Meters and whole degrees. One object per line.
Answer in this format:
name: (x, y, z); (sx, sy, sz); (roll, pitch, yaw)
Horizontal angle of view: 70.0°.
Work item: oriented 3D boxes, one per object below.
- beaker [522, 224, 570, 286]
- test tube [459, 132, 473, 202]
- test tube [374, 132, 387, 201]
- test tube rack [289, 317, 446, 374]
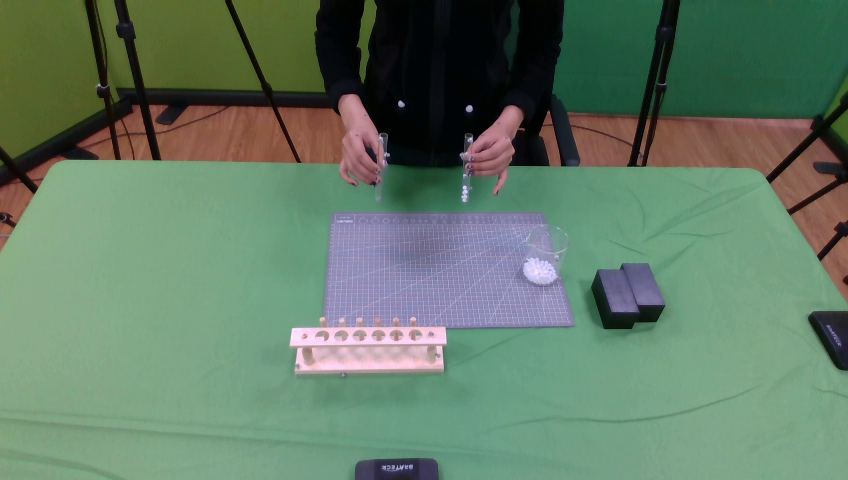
beaker: (0.221, 0.032, 1.129); (0.084, 0.101, 0.073); (-6, 46, -9)
test tube: (0.077, -0.131, 1.121); (0.017, 0.151, 0.017); (1, 41, -1)
test tube: (-0.079, -0.129, 1.089); (0.017, 0.151, 0.017); (5, 45, -4)
test tube rack: (-0.089, 0.167, 0.988); (0.242, 0.085, 0.066); (0, 46, -4)
